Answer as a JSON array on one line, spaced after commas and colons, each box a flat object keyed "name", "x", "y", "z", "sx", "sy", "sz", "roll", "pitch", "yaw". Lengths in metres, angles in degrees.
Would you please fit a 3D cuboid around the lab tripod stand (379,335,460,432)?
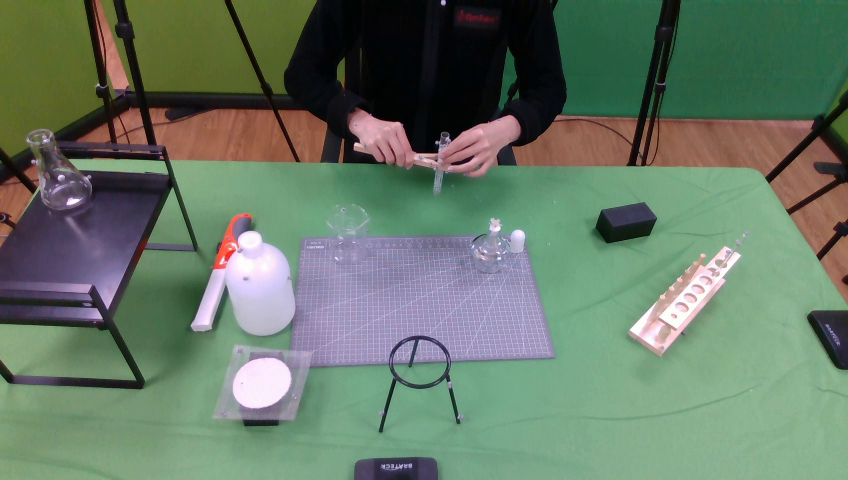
[{"name": "lab tripod stand", "x": -0.010, "y": 0.214, "z": 0.911, "sx": 0.148, "sy": 0.132, "sz": 0.147, "roll": 1, "pitch": 45, "yaw": 0}]

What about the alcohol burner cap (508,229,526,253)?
[{"name": "alcohol burner cap", "x": 0.185, "y": -0.002, "z": 1.192, "sx": 0.034, "sy": 0.048, "sz": 0.033, "roll": 3, "pitch": 44, "yaw": -2}]

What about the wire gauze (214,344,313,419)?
[{"name": "wire gauze", "x": -0.241, "y": 0.213, "z": 0.915, "sx": 0.121, "sy": 0.011, "sz": 0.124, "roll": 5, "pitch": 46, "yaw": 1}]

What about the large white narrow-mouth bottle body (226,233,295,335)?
[{"name": "large white narrow-mouth bottle body", "x": -0.270, "y": 0.065, "z": 0.995, "sx": 0.102, "sy": 0.195, "sz": 0.101, "roll": 2, "pitch": 46, "yaw": -2}]

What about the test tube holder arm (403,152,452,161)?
[{"name": "test tube holder arm", "x": 0.005, "y": -0.149, "z": 1.092, "sx": 0.088, "sy": 0.015, "sz": 0.010, "roll": -3, "pitch": 52, "yaw": -11}]

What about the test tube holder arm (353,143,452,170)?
[{"name": "test tube holder arm", "x": -0.039, "y": -0.150, "z": 1.085, "sx": 0.178, "sy": 0.015, "sz": 0.013, "roll": 10, "pitch": 50, "yaw": 0}]

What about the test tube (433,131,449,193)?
[{"name": "test tube", "x": 0.030, "y": -0.138, "z": 1.094, "sx": 0.017, "sy": 0.151, "sz": 0.017, "roll": 3, "pitch": 53, "yaw": -4}]

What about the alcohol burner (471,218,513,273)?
[{"name": "alcohol burner", "x": 0.128, "y": 0.005, "z": 1.132, "sx": 0.078, "sy": 0.120, "sz": 0.077, "roll": 0, "pitch": 47, "yaw": 0}]

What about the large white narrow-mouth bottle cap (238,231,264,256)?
[{"name": "large white narrow-mouth bottle cap", "x": -0.266, "y": 0.006, "z": 0.932, "sx": 0.038, "sy": 0.024, "sz": 0.037, "roll": 2, "pitch": 46, "yaw": -2}]

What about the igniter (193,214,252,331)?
[{"name": "igniter", "x": -0.368, "y": 0.050, "z": 1.119, "sx": 0.057, "sy": 0.025, "sz": 0.275, "roll": -3, "pitch": 46, "yaw": 8}]

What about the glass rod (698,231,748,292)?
[{"name": "glass rod", "x": 0.514, "y": 0.044, "z": 1.051, "sx": 0.008, "sy": 0.200, "sz": 0.008, "roll": 1, "pitch": 55, "yaw": -1}]

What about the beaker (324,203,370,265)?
[{"name": "beaker", "x": -0.142, "y": -0.009, "z": 1.137, "sx": 0.084, "sy": 0.101, "sz": 0.073, "roll": -3, "pitch": 47, "yaw": -7}]

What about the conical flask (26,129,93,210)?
[{"name": "conical flask", "x": -0.575, "y": -0.113, "z": 0.946, "sx": 0.075, "sy": 0.122, "sz": 0.075, "roll": 2, "pitch": 46, "yaw": -2}]

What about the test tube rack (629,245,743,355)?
[{"name": "test tube rack", "x": 0.474, "y": 0.095, "z": 1.091, "sx": 0.242, "sy": 0.085, "sz": 0.066, "roll": -34, "pitch": 56, "yaw": -31}]
